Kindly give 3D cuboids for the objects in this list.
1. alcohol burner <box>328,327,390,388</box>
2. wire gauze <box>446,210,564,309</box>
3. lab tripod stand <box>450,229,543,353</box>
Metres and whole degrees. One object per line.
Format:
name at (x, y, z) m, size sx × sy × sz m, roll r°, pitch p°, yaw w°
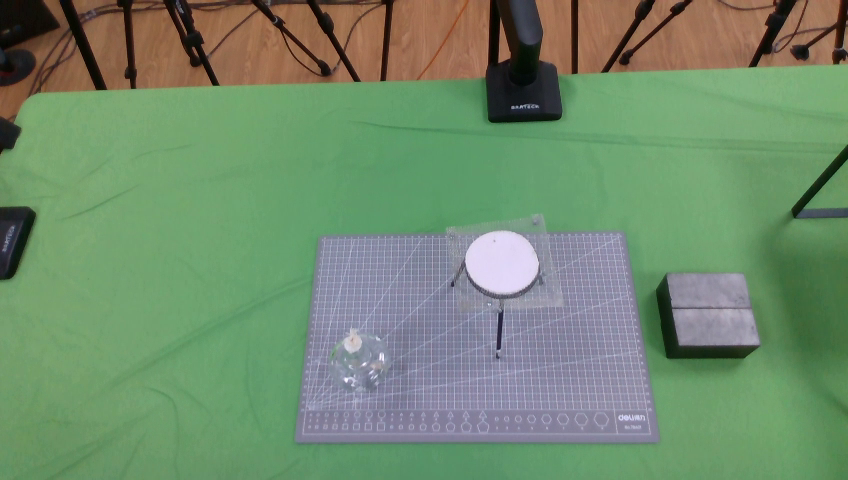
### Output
alcohol burner at (-0.082, 0.139, 0.749) m, size 0.078 × 0.120 × 0.077 m, roll -1°, pitch 59°, yaw 2°
wire gauze at (0.094, 0.023, 0.716) m, size 0.125 × 0.011 × 0.120 m, roll -6°, pitch 62°, yaw -1°
lab tripod stand at (0.099, 0.053, 0.776) m, size 0.148 × 0.132 × 0.147 m, roll -1°, pitch 60°, yaw 2°
